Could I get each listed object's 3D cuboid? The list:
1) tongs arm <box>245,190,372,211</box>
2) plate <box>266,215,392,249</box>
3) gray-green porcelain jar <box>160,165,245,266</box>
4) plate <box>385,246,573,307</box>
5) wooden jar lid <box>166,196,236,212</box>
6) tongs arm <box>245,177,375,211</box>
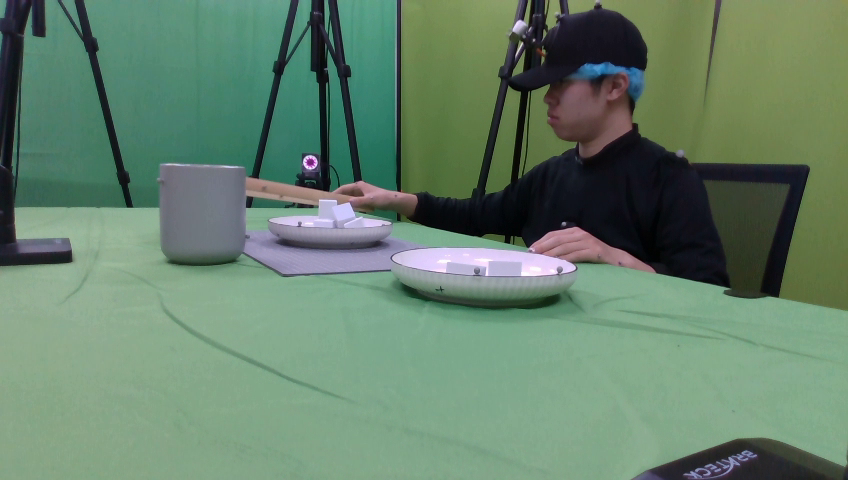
[{"bbox_3d":[-0.295,-0.101,1.384,0.387,0.026,0.050,7,-4,-35],"label":"tongs arm"},{"bbox_3d":[-0.159,-0.015,1.019,0.209,0.038,0.209,3,7,0],"label":"plate"},{"bbox_3d":[-0.291,-0.034,0.799,0.106,0.126,0.106,2,8,0],"label":"gray-green porcelain jar"},{"bbox_3d":[0.060,0.040,0.678,0.208,0.039,0.207,3,7,0],"label":"plate"},{"bbox_3d":[-0.369,-0.060,1.001,0.108,0.020,0.108,3,6,0],"label":"wooden jar lid"},{"bbox_3d":[-0.248,-0.099,1.324,0.028,0.027,0.390,-4,-7,43],"label":"tongs arm"}]
